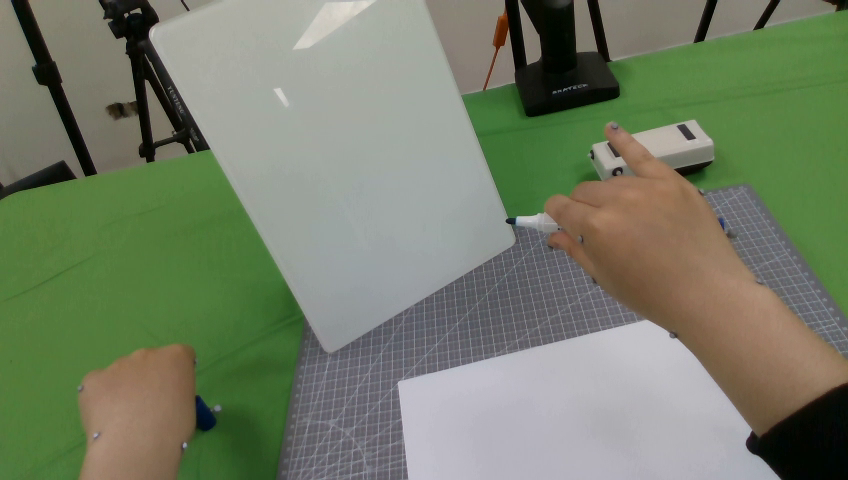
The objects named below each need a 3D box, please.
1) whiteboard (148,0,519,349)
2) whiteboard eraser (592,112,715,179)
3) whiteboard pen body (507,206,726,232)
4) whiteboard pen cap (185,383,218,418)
[{"bbox_3d":[-0.078,-0.096,0.581,0.217,0.307,0.142,-29,22,-14],"label":"whiteboard"},{"bbox_3d":[0.237,-0.096,0.632,0.112,0.042,0.055,-12,43,4],"label":"whiteboard eraser"},{"bbox_3d":[0.126,-0.015,0.408,0.140,0.017,0.017,2,44,16],"label":"whiteboard pen body"},{"bbox_3d":[-0.191,0.139,0.520,0.018,0.033,0.018,-8,42,8],"label":"whiteboard pen cap"}]
